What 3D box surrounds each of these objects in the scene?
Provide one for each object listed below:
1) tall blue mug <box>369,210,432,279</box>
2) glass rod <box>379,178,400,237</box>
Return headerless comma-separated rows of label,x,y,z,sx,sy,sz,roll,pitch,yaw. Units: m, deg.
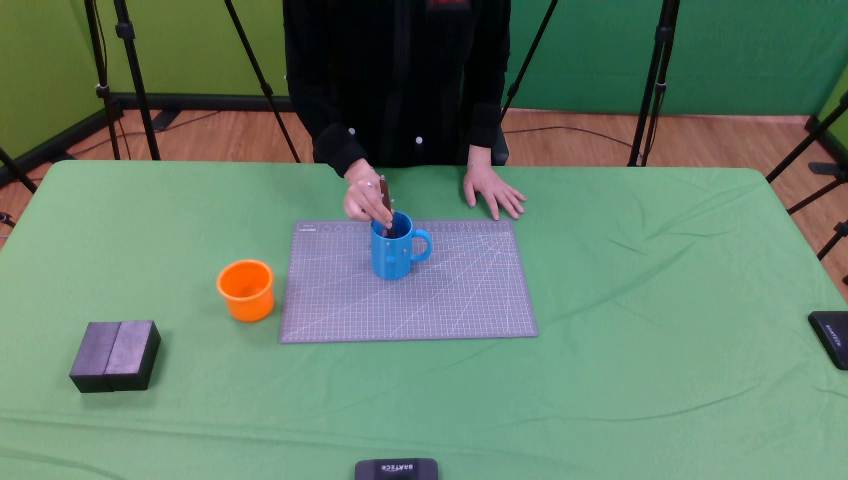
tall blue mug,-0.049,0.005,1.125,0.107,0.108,0.077,-19,50,-21
glass rod,-0.054,-0.032,1.073,0.008,0.201,0.008,-7,44,8
